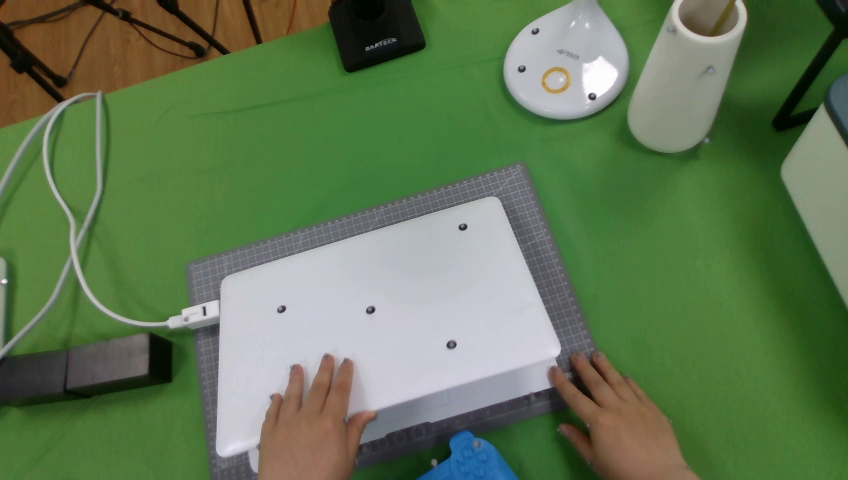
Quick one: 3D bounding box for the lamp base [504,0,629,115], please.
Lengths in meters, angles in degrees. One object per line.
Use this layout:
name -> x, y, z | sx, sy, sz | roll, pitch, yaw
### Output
lamp base -> 0.177, -0.273, 0.723 | 0.160, 0.182, 0.178 | 15, 69, 14

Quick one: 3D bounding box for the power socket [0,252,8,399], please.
power socket -> -0.570, 0.112, 0.761 | 0.072, 0.033, 0.225 | -14, 67, 2

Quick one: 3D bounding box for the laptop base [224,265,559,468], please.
laptop base -> -0.048, 0.097, 0.701 | 0.354, 0.023, 0.234 | -17, 71, 1

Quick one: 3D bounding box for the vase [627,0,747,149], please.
vase -> 0.284, -0.184, 0.664 | 0.098, 0.201, 0.097 | -4, 67, 9

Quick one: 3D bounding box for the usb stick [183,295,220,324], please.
usb stick -> -0.254, 0.082, 0.722 | 0.059, 0.027, 0.021 | -13, 67, -3

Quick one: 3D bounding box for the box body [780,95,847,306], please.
box body -> 0.550, 0.002, 0.575 | 0.254, 0.161, 0.361 | -15, 68, 3

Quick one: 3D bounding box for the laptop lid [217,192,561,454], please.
laptop lid -> -0.057, 0.075, 0.657 | 0.357, 0.013, 0.239 | -16, 49, 3

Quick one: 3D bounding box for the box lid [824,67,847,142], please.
box lid -> 0.539, -0.027, 0.507 | 0.263, 0.015, 0.368 | -15, 68, 2

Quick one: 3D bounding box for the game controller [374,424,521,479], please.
game controller -> 0.017, 0.259, 0.618 | 0.155, 0.052, 0.096 | -31, 66, -4

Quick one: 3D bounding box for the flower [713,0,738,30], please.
flower -> 0.291, -0.218, 0.587 | 0.038, 0.364, 0.043 | -3, 58, -11
